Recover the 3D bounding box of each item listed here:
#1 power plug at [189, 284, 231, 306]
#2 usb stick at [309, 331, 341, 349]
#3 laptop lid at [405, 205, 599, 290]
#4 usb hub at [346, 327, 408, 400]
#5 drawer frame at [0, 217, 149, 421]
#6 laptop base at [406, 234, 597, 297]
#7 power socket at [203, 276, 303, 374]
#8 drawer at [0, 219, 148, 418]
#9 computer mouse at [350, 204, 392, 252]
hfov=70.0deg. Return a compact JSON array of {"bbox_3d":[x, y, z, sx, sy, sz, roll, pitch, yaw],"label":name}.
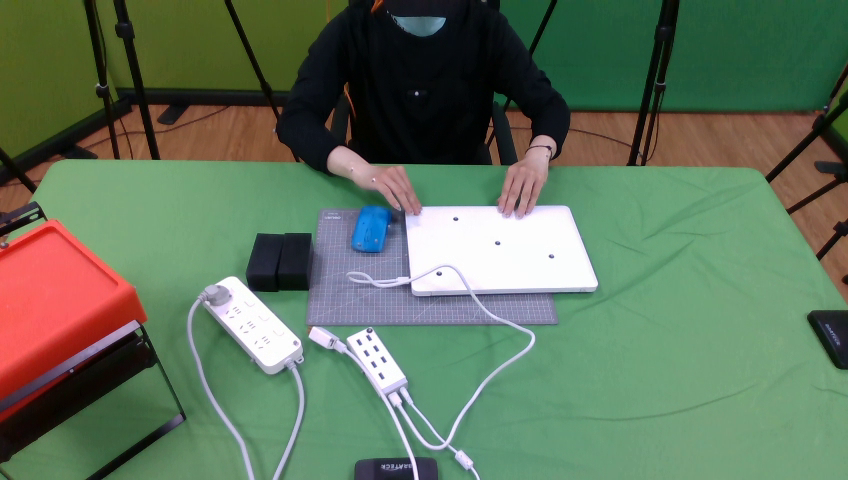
[{"bbox_3d":[-0.367,0.100,1.037,0.072,0.053,0.035,-24,54,-26],"label":"power plug"},{"bbox_3d":[-0.172,0.166,1.021,0.059,0.021,0.027,8,1,25],"label":"usb stick"},{"bbox_3d":[0.143,0.008,1.189,0.357,0.013,0.240,0,44,-5],"label":"laptop lid"},{"bbox_3d":[-0.078,0.202,0.998,0.049,0.025,0.124,-23,53,-24],"label":"usb hub"},{"bbox_3d":[-0.510,0.093,0.780,0.201,0.083,0.213,31,52,23],"label":"drawer frame"},{"bbox_3d":[0.143,0.018,1.196,0.355,0.023,0.234,-1,43,-6],"label":"laptop base"},{"bbox_3d":[-0.296,0.141,1.034,0.072,0.033,0.225,-35,58,-30],"label":"power socket"},{"bbox_3d":[-0.509,0.093,0.783,0.193,0.073,0.211,32,53,24],"label":"drawer"},{"bbox_3d":[-0.104,-0.027,1.202,0.063,0.041,0.116,11,51,4],"label":"computer mouse"}]
